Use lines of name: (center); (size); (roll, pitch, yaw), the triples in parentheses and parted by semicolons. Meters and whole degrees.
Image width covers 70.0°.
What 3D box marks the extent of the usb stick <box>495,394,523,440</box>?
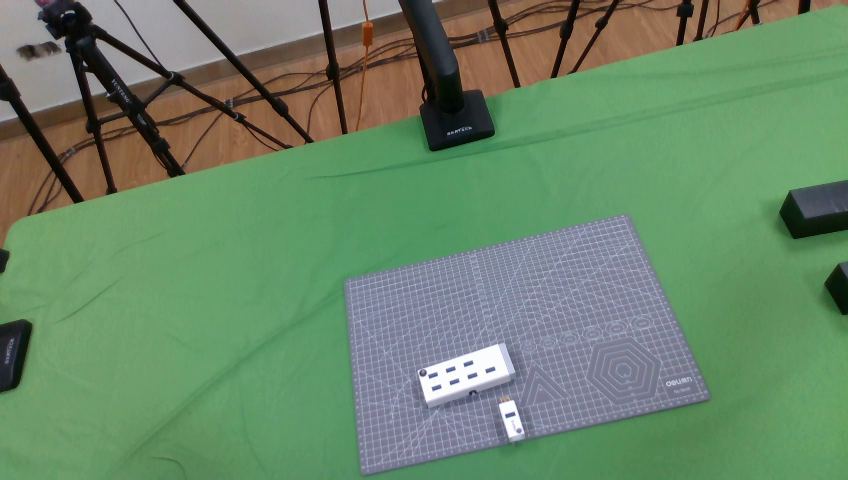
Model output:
usb stick: (0.106, 0.222, 0.771); (0.021, 0.027, 0.058); (-19, 51, 4)

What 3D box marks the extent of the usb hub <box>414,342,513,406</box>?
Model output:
usb hub: (0.053, 0.178, 0.812); (0.125, 0.025, 0.049); (-18, 54, -1)
